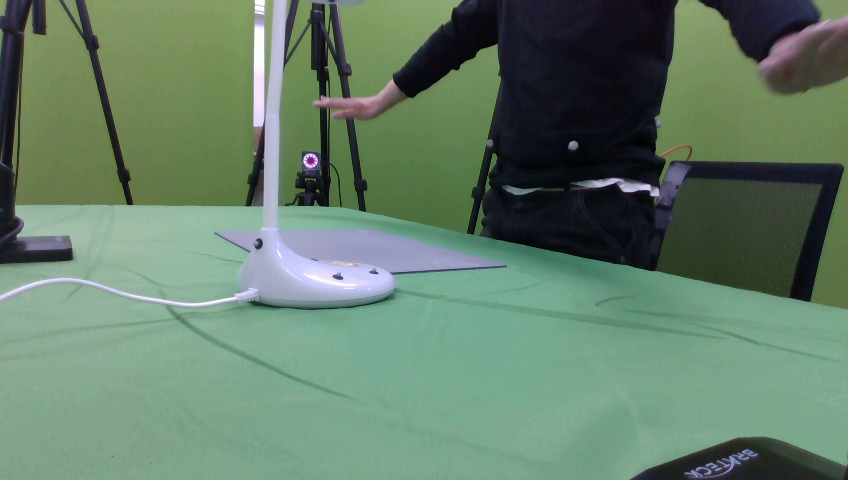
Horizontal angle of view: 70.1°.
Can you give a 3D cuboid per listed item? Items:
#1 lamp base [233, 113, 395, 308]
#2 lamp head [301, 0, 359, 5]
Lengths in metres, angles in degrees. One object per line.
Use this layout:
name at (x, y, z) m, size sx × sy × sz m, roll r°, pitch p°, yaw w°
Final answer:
lamp base at (-0.113, -0.033, 0.600) m, size 0.160 × 0.180 × 0.180 m, roll 6°, pitch 11°, yaw 28°
lamp head at (-0.095, -0.314, 0.610) m, size 0.112 × 0.123 × 0.112 m, roll -4°, pitch 50°, yaw 5°
